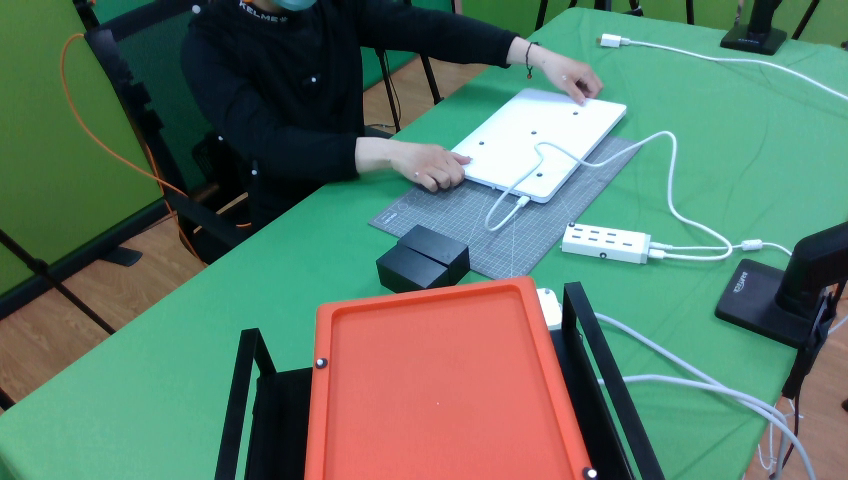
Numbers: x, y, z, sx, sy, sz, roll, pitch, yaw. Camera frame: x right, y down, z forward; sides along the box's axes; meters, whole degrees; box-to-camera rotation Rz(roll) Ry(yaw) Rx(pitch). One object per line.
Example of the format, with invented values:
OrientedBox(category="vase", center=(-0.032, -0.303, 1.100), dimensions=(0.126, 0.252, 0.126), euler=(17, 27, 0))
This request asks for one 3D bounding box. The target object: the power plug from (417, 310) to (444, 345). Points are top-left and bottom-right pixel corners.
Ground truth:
OrientedBox(category="power plug", center=(0.007, 0.122, 0.785), dimensions=(0.035, 0.053, 0.072), euler=(1, 39, 7))

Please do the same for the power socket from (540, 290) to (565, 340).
OrientedBox(category="power socket", center=(0.081, 0.112, 0.822), dimensions=(0.227, 0.033, 0.072), euler=(-6, 41, 0))

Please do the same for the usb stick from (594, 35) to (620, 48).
OrientedBox(category="usb stick", center=(0.443, -0.482, 1.466), dimensions=(0.059, 0.021, 0.027), euler=(9, 42, 10))

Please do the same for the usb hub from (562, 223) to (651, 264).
OrientedBox(category="usb hub", center=(0.279, 0.004, 0.926), dimensions=(0.124, 0.025, 0.049), euler=(10, 43, 19))

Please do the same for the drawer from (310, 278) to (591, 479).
OrientedBox(category="drawer", center=(0.013, 0.137, 0.489), dimensions=(0.195, 0.073, 0.210), euler=(-7, 41, 0))

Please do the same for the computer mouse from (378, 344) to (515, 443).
OrientedBox(category="computer mouse", center=(0.017, 0.126, 0.521), dimensions=(0.116, 0.041, 0.063), euler=(13, 47, 30))

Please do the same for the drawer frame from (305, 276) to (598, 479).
OrientedBox(category="drawer frame", center=(0.014, 0.137, 0.486), dimensions=(0.202, 0.083, 0.212), euler=(-8, 41, -1))

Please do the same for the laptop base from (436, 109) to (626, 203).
OrientedBox(category="laptop base", center=(0.214, -0.193, 1.171), dimensions=(0.233, 0.023, 0.355), euler=(19, 46, 31))

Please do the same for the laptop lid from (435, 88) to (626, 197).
OrientedBox(category="laptop lid", center=(0.211, -0.203, 1.165), dimensions=(0.240, 0.013, 0.358), euler=(21, 47, 32))
